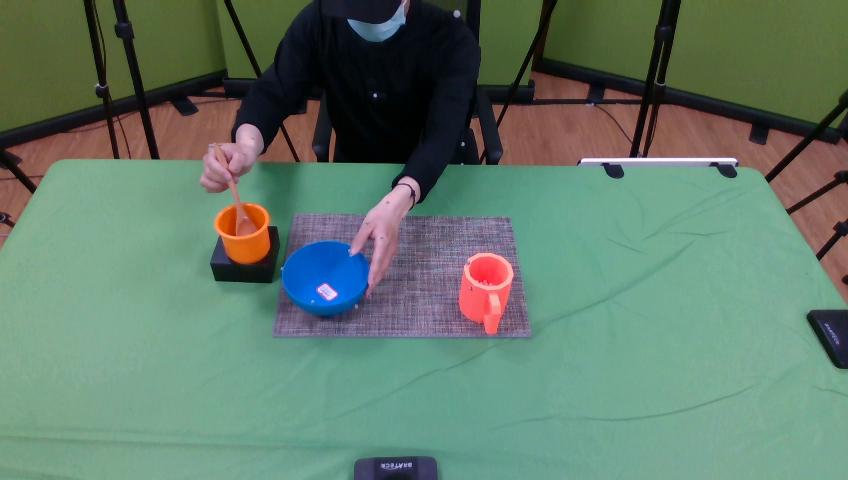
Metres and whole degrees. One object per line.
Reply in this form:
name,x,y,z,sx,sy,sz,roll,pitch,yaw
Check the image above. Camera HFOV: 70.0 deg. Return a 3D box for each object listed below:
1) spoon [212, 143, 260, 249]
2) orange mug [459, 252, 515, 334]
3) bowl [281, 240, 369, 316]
spoon,-0.329,-0.076,1.059,0.041,0.194,0.021,-24,15,-40
orange mug,0.111,0.096,1.052,0.083,0.101,0.125,-4,42,-7
bowl,-0.170,0.080,1.062,0.151,0.077,0.150,2,46,-2
